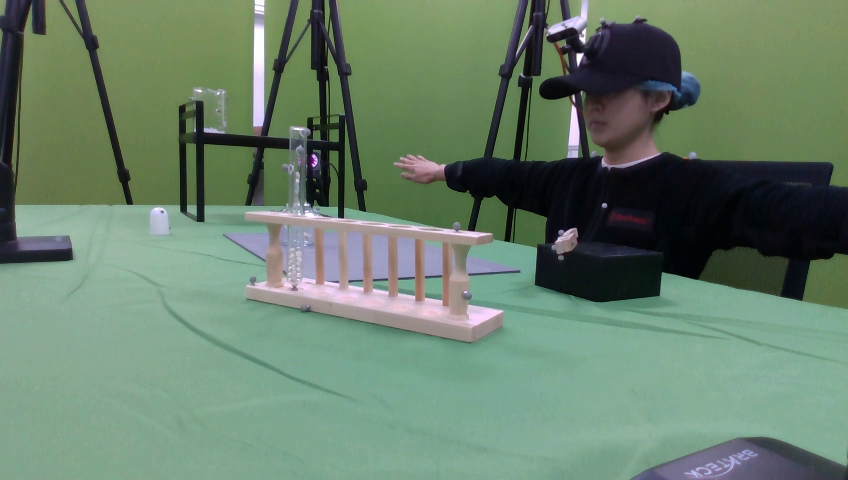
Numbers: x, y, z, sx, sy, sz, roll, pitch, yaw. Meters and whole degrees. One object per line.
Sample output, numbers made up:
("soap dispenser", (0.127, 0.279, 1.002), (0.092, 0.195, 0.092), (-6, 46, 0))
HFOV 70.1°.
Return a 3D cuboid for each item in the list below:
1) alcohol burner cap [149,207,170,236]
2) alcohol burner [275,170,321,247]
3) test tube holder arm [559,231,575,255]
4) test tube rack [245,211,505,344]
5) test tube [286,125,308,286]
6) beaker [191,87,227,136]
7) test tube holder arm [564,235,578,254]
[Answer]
("alcohol burner cap", (-0.446, -0.032, 1.019), (0.034, 0.048, 0.034), (5, 8, 0))
("alcohol burner", (-0.199, -0.050, 0.948), (0.078, 0.119, 0.078), (1, 7, 0))
("test tube holder arm", (0.170, 0.001, 0.714), (0.013, 0.015, 0.179), (-3, 4, 16))
("test tube rack", (-0.049, 0.025, 0.547), (0.241, 0.085, 0.067), (7, 8, 29))
("test tube", (-0.118, -0.030, 0.558), (0.017, 0.150, 0.017), (4, 12, -1))
("beaker", (-0.476, -0.284, 1.345), (0.074, 0.100, 0.083), (-3, 10, -37))
("test tube holder arm", (0.163, 0.005, 0.669), (0.010, 0.015, 0.088), (-3, 4, 17))
